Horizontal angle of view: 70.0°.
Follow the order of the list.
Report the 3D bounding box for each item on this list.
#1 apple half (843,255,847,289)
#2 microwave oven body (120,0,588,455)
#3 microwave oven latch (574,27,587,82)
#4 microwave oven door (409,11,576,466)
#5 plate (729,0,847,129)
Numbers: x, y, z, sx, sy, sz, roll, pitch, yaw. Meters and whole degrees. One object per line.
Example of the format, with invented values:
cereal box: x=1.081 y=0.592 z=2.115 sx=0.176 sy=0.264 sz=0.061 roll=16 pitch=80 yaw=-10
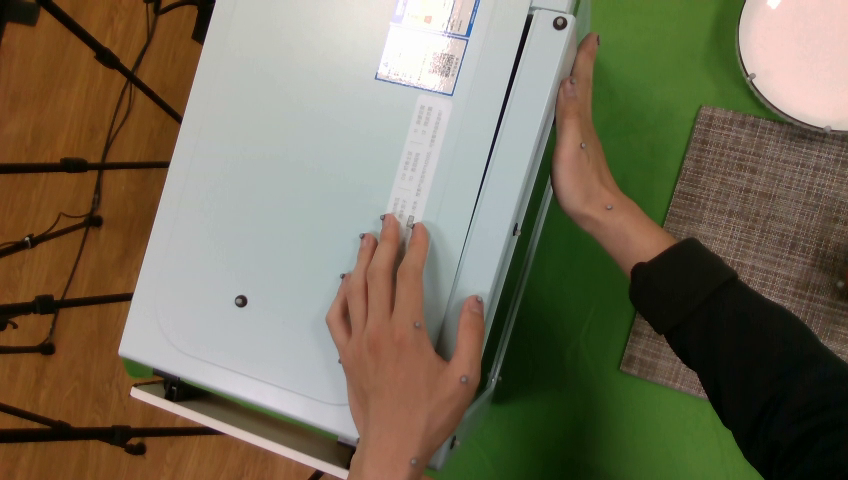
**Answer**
apple half: x=0.431 y=0.031 z=0.576 sx=0.053 sy=0.075 sz=0.080 roll=-4 pitch=89 yaw=19
microwave oven body: x=-0.053 y=-0.071 z=0.607 sx=0.325 sy=0.261 sz=0.441 roll=15 pitch=90 yaw=14
microwave oven latch: x=0.157 y=-0.196 z=0.664 sx=0.030 sy=0.029 sz=0.079 roll=16 pitch=91 yaw=14
microwave oven door: x=0.074 y=0.007 z=0.565 sx=0.039 sy=0.245 sz=0.355 roll=16 pitch=90 yaw=15
plate: x=0.422 y=-0.213 z=0.618 sx=0.207 sy=0.039 sz=0.207 roll=-1 pitch=86 yaw=14
